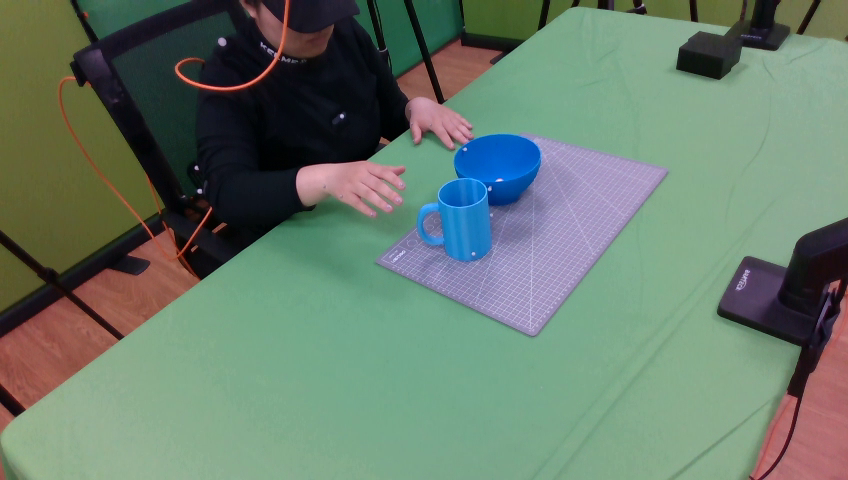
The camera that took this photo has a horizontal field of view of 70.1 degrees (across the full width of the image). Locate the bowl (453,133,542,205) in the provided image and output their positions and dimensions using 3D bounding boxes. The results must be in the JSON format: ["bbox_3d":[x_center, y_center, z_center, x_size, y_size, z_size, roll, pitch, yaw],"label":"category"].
[{"bbox_3d":[0.129,-0.112,1.045,0.151,0.077,0.150,-5,40,5],"label":"bowl"}]

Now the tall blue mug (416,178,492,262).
[{"bbox_3d":[0.051,-0.025,0.931,0.107,0.108,0.077,-27,44,-20],"label":"tall blue mug"}]
